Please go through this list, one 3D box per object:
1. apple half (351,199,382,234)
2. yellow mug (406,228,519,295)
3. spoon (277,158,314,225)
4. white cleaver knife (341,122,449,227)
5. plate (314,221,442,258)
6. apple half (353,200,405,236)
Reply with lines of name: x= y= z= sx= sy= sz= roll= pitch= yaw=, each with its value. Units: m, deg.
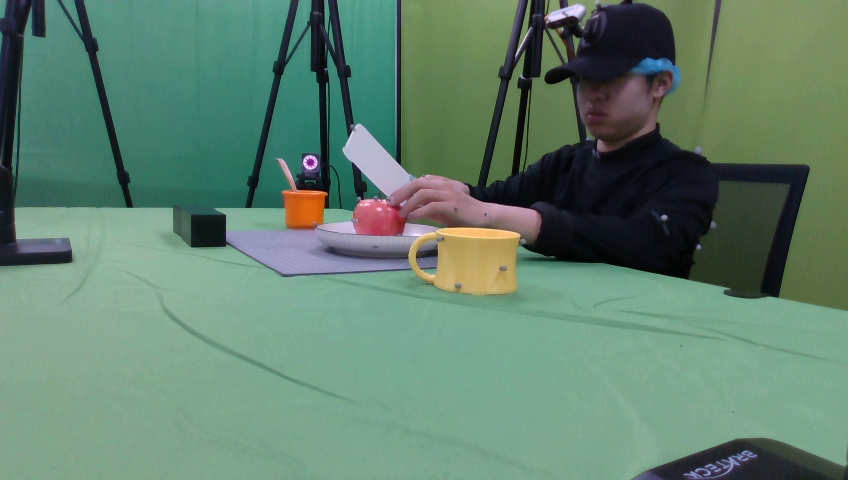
apple half: x=-0.089 y=-0.029 z=0.939 sx=0.082 sy=0.081 sz=0.032 roll=-4 pitch=16 yaw=-44
yellow mug: x=0.044 y=0.022 z=0.707 sx=0.131 sy=0.064 sz=0.100 roll=2 pitch=7 yaw=5
spoon: x=-0.272 y=-0.103 z=1.260 sx=0.042 sy=0.193 sz=0.021 roll=-5 pitch=-34 yaw=-33
white cleaver knife: x=-0.041 y=-0.087 z=0.968 sx=0.021 sy=0.066 sz=0.288 roll=10 pitch=-20 yaw=39
plate: x=-0.067 y=-0.001 z=0.948 sx=0.209 sy=0.038 sz=0.209 roll=3 pitch=7 yaw=0
apple half: x=-0.061 y=-0.023 z=0.912 sx=0.081 sy=0.074 sz=0.053 roll=2 pitch=9 yaw=-45
